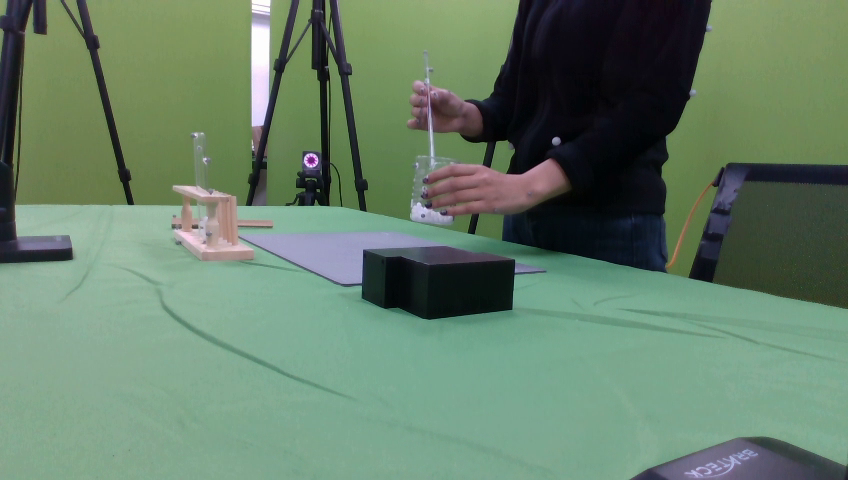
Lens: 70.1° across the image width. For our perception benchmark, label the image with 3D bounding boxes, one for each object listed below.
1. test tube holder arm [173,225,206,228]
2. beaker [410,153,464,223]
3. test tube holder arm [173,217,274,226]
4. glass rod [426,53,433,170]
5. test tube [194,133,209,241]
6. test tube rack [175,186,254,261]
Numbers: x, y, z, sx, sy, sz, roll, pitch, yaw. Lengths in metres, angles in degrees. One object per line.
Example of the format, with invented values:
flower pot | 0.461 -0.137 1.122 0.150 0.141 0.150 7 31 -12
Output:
test tube holder arm | -0.414 -0.030 1.113 0.088 0.015 0.010 -1 -21 -25
beaker | 0.017 -0.079 0.929 0.074 0.100 0.083 5 3 -17
test tube holder arm | -0.371 -0.033 1.128 0.179 0.015 0.013 -1 -21 -25
glass rod | 0.009 -0.203 0.947 0.008 0.199 0.008 -1 -14 0
test tube | -0.307 -0.074 0.842 0.017 0.150 0.017 -3 2 0
test tube rack | -0.314 -0.031 0.889 0.067 0.085 0.241 -2 8 -30
